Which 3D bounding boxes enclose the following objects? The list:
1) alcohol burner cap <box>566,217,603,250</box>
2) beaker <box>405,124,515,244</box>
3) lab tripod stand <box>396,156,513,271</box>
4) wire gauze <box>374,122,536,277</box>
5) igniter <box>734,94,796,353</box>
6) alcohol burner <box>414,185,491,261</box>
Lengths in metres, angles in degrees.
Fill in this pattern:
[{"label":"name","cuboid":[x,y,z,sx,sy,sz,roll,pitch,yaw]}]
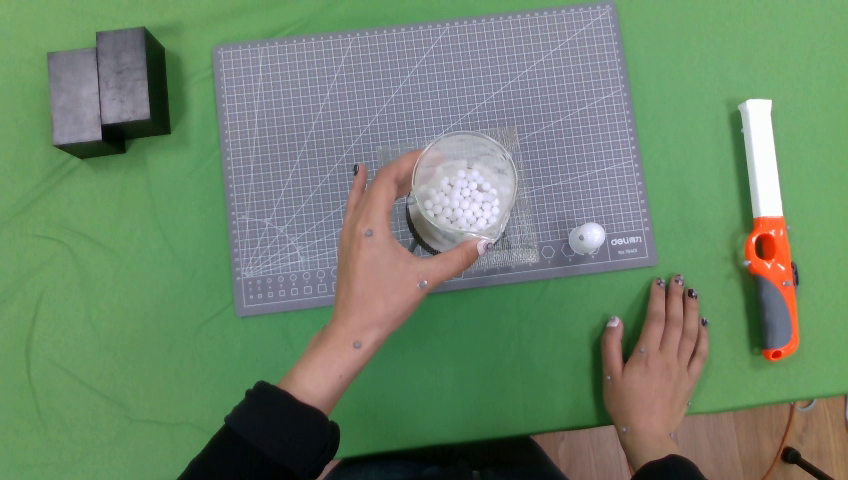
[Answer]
[{"label":"alcohol burner cap","cuboid":[0.169,-0.007,0.630,0.034,0.048,0.034,0,83,1]},{"label":"beaker","cuboid":[0.030,-0.034,0.464,0.074,0.100,0.083,-30,83,-1]},{"label":"lab tripod stand","cuboid":[0.025,-0.024,0.584,0.148,0.132,0.148,0,82,1]},{"label":"wire gauze","cuboid":[0.026,-0.036,0.518,0.125,0.011,0.121,-9,83,-2]},{"label":"igniter","cuboid":[0.361,-0.020,0.643,0.057,0.025,0.275,-2,84,-11]},{"label":"alcohol burner","cuboid":[0.029,-0.020,0.594,0.078,0.119,0.077,0,81,-1]}]
